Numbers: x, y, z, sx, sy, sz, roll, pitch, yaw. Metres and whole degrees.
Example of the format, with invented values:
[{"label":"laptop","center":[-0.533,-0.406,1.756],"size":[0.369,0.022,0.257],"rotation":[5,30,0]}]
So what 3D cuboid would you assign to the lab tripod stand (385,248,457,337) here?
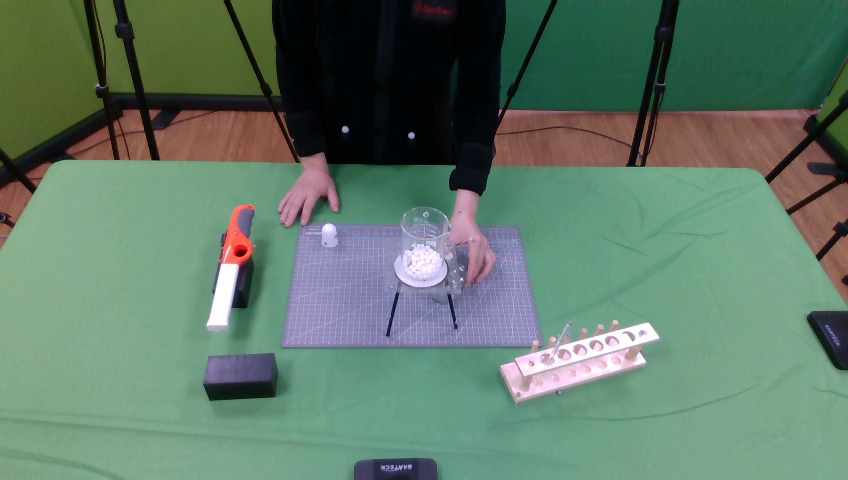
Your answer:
[{"label":"lab tripod stand","center":[-0.010,0.087,1.032],"size":[0.148,0.132,0.147],"rotation":[1,45,-1]}]

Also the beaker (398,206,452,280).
[{"label":"beaker","center":[0.000,0.008,0.950],"size":[0.084,0.101,0.073],"rotation":[10,45,6]}]

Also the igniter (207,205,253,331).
[{"label":"igniter","center":[-0.339,0.038,1.066],"size":[0.057,0.025,0.274],"rotation":[2,48,-6]}]

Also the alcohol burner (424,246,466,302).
[{"label":"alcohol burner","center":[0.038,0.056,1.080],"size":[0.078,0.120,0.077],"rotation":[1,46,-1]}]

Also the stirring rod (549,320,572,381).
[{"label":"stirring rod","center":[0.202,0.167,0.901],"size":[0.006,0.177,0.014],"rotation":[-17,54,-11]}]

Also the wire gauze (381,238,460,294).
[{"label":"wire gauze","center":[-0.007,0.042,0.985],"size":[0.125,0.011,0.120],"rotation":[-1,43,-2]}]

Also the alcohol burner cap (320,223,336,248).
[{"label":"alcohol burner cap","center":[-0.188,-0.011,1.176],"size":[0.034,0.048,0.033],"rotation":[2,46,-2]}]

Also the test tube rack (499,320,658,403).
[{"label":"test tube rack","center":[0.252,0.187,0.994],"size":[0.243,0.085,0.066],"rotation":[-12,48,-15]}]
